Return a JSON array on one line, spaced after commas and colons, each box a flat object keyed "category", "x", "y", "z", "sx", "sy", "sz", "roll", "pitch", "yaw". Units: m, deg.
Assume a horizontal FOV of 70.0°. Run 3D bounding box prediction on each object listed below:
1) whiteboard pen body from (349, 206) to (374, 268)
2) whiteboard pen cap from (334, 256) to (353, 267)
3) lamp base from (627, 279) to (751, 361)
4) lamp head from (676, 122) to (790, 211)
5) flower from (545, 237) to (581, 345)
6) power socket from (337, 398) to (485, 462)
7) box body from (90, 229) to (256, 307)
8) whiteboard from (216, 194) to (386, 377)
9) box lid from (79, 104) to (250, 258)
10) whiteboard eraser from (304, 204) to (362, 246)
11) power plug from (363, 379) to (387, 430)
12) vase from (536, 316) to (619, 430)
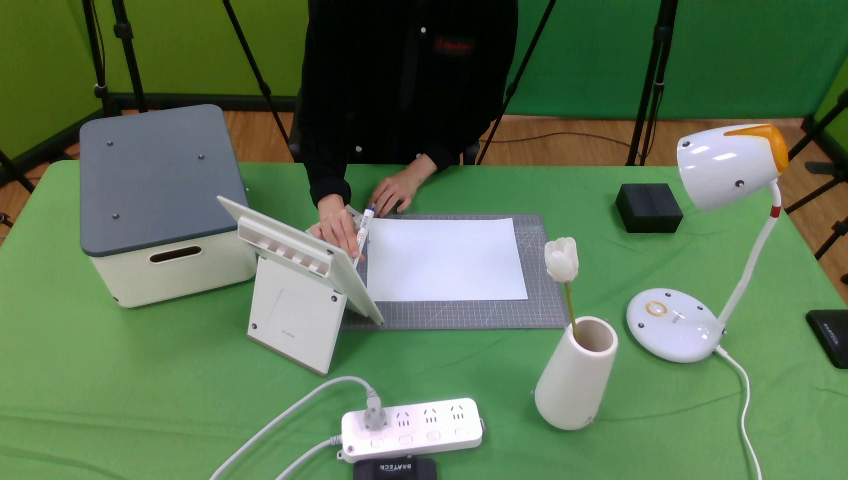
[{"category": "whiteboard pen body", "x": -0.109, "y": 0.010, "z": 0.995, "sx": 0.017, "sy": 0.017, "sz": 0.140, "roll": 15, "pitch": 79, "yaw": 10}, {"category": "whiteboard pen cap", "x": -0.152, "y": 0.041, "z": 1.146, "sx": 0.033, "sy": 0.018, "sz": 0.018, "roll": 12, "pitch": 47, "yaw": 11}, {"category": "lamp base", "x": 0.460, "y": 0.100, "z": 1.027, "sx": 0.178, "sy": 0.181, "sz": 0.160, "roll": 27, "pitch": 51, "yaw": 17}, {"category": "lamp head", "x": 0.423, "y": -0.104, "z": 0.819, "sx": 0.122, "sy": 0.113, "sz": 0.112, "roll": -13, "pitch": 33, "yaw": 40}, {"category": "flower", "x": 0.213, "y": 0.137, "z": 0.846, "sx": 0.038, "sy": 0.364, "sz": 0.044, "roll": 22, "pitch": 55, "yaw": 40}, {"category": "power socket", "x": -0.018, "y": 0.285, "z": 0.914, "sx": 0.227, "sy": 0.033, "sz": 0.071, "roll": -4, "pitch": 46, "yaw": -8}, {"category": "box body", "x": -0.471, "y": -0.070, "z": 1.131, "sx": 0.254, "sy": 0.161, "sz": 0.361, "roll": -14, "pitch": 49, "yaw": -17}, {"category": "whiteboard", "x": -0.212, "y": 0.093, "z": 0.939, "sx": 0.216, "sy": 0.307, "sz": 0.143, "roll": 24, "pitch": 70, "yaw": 17}, {"category": "box lid", "x": -0.467, "y": -0.120, "z": 1.075, "sx": 0.264, "sy": 0.015, "sz": 0.369, "roll": -13, "pitch": 49, "yaw": -17}, {"category": "whiteboard eraser", "x": -0.175, "y": -0.022, "z": 1.188, "sx": 0.055, "sy": 0.042, "sz": 0.112, "roll": 36, "pitch": 53, "yaw": 26}, {"category": "power plug", "x": -0.071, "y": 0.252, "z": 0.911, "sx": 0.035, "sy": 0.053, "sz": 0.072, "roll": 3, "pitch": 40, "yaw": 0}, {"category": "vase", "x": 0.229, "y": 0.200, "z": 0.901, "sx": 0.098, "sy": 0.201, "sz": 0.097, "roll": 3, "pitch": 46, "yaw": -3}]
